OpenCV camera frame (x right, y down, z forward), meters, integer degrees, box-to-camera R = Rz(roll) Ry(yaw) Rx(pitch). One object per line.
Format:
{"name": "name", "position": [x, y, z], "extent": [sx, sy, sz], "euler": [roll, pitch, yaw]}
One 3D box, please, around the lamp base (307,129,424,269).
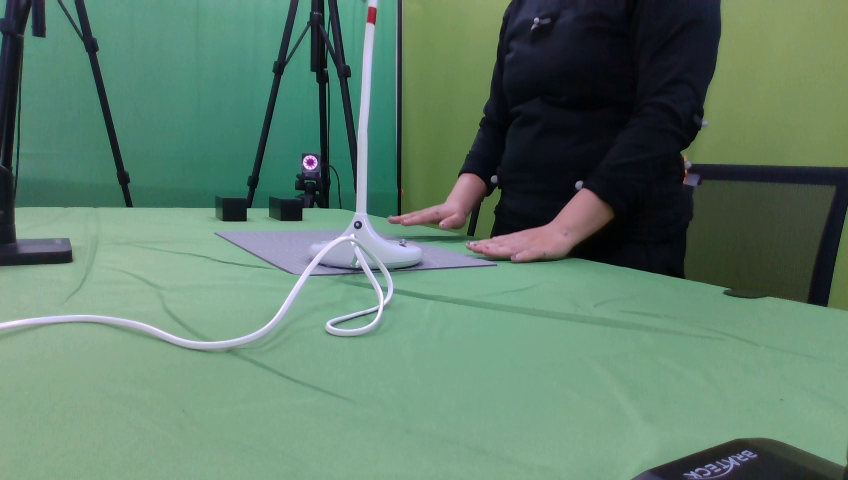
{"name": "lamp base", "position": [-0.076, -0.057, 0.811], "extent": [0.161, 0.180, 0.179], "euler": [2, 10, -4]}
